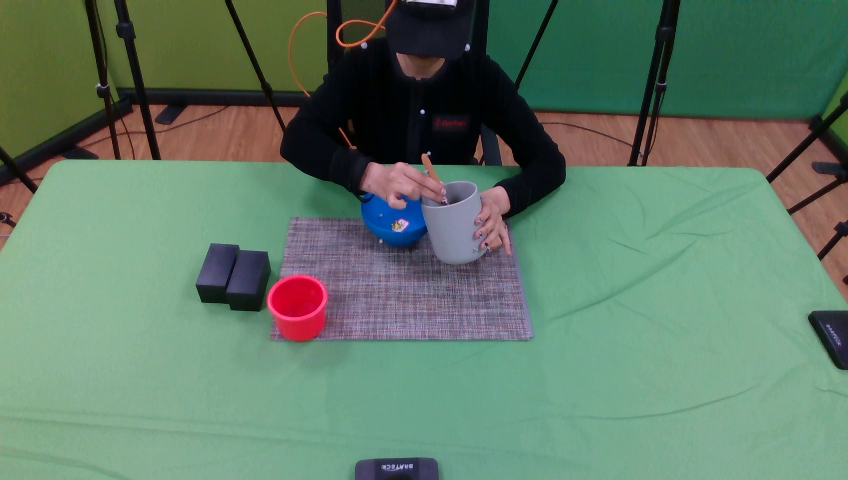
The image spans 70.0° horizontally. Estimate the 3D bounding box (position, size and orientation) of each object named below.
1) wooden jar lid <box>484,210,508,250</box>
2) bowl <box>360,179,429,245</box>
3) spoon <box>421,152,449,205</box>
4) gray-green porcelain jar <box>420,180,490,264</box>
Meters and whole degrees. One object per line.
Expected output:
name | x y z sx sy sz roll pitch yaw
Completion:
wooden jar lid | 0.115 -0.018 1.220 0.108 0.021 0.107 3 47 -3
bowl | -0.049 -0.042 1.190 0.151 0.077 0.150 2 46 -2
spoon | 0.037 -0.064 1.053 0.041 0.194 0.021 -21 17 15
gray-green porcelain jar | 0.058 -0.029 1.087 0.106 0.127 0.105 -13 27 7
